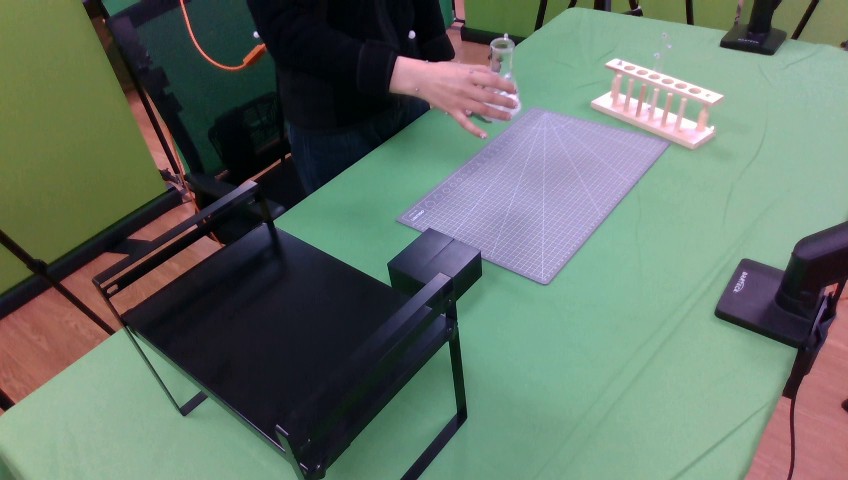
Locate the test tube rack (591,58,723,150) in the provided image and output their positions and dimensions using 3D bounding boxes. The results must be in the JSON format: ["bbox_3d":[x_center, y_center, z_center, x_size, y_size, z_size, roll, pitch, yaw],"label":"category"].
[{"bbox_3d":[0.442,-0.269,1.171,0.067,0.085,0.240,-31,46,-23],"label":"test tube rack"}]

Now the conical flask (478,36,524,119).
[{"bbox_3d":[0.123,-0.258,0.958,0.075,0.122,0.075,-2,49,3],"label":"conical flask"}]

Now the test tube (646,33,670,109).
[{"bbox_3d":[0.445,-0.319,1.154,0.017,0.151,0.017,-1,41,2],"label":"test tube"}]
